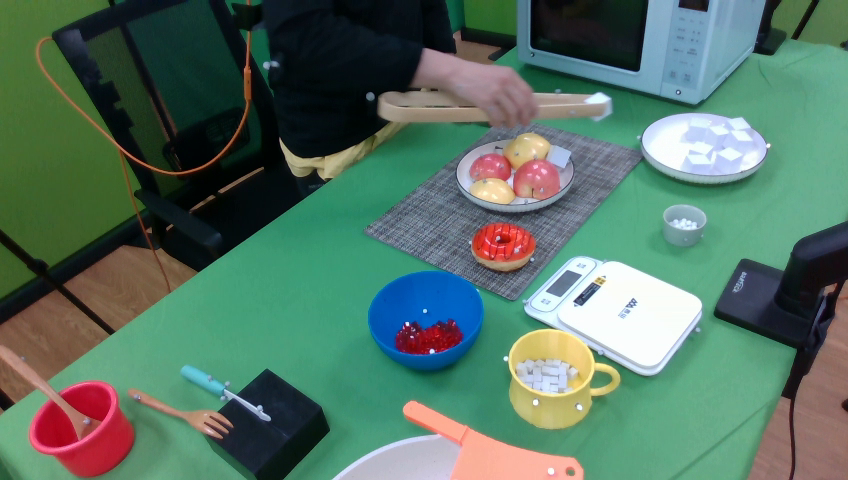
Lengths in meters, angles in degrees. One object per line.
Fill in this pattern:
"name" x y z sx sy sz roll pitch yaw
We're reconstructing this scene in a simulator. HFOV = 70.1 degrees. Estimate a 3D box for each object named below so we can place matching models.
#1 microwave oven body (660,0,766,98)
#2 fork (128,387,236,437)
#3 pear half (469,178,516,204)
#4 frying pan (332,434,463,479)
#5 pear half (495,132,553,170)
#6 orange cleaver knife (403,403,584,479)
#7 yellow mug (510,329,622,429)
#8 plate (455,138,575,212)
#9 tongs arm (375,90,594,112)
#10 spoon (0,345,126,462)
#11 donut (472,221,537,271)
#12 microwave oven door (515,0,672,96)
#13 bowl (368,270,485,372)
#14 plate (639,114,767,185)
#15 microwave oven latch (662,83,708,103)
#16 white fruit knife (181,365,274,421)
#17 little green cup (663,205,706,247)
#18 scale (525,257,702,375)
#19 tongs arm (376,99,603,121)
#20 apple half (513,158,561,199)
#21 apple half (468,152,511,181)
"microwave oven body" 0.472 -0.513 1.317 0.438 0.261 0.327 26 51 34
"fork" -0.305 0.207 0.744 0.206 0.019 0.028 3 41 36
"pear half" 0.115 -0.090 1.035 0.087 0.031 0.071 27 38 32
"frying pan" -0.089 0.306 0.564 0.487 0.103 0.306 10 41 7
"pear half" 0.174 -0.167 1.094 0.109 0.056 0.076 14 54 30
"orange cleaver knife" 0.062 0.223 0.610 0.210 0.012 0.077 15 47 25
"yellow mug" 0.168 0.164 0.721 0.130 0.064 0.099 0 40 8
"plate" 0.159 -0.111 1.063 0.209 0.038 0.208 -4 40 4
"tongs arm" 0.110 -0.224 0.994 0.386 0.026 0.050 -1 41 -13
"spoon" -0.434 0.192 0.720 0.194 0.021 0.042 47 53 -7
"donut" 0.123 0.008 0.923 0.099 0.048 0.098 -3 38 3
"microwave oven door" 0.343 -0.455 1.259 0.353 0.245 0.039 26 51 33
"bowl" 0.007 0.119 0.791 0.151 0.077 0.150 -5 39 4
"plate" 0.489 -0.157 1.074 0.207 0.039 0.206 -4 40 4
"microwave oven latch" 0.518 -0.296 1.204 0.078 0.029 0.030 28 52 35
"white fruit knife" -0.245 0.188 0.747 0.205 0.027 0.016 9 41 41
"little green cup" 0.396 -0.020 0.926 0.061 0.039 0.061 -4 40 4
"scale" 0.254 0.091 0.821 0.199 0.032 0.149 27 51 35
"tongs arm" 0.116 -0.208 0.977 0.389 0.028 0.028 -3 45 -16
"apple half" 0.193 -0.111 1.031 0.080 0.053 0.075 11 40 26
"apple half" 0.120 -0.138 1.088 0.081 0.033 0.081 0 44 0
